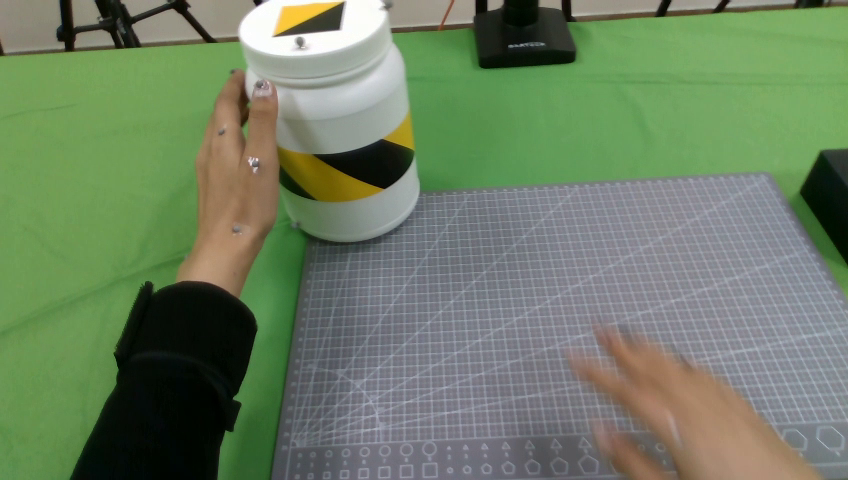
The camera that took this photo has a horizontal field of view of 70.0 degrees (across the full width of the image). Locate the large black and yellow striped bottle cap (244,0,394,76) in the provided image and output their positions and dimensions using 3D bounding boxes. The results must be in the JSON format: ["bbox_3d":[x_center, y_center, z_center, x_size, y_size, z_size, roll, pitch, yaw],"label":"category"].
[{"bbox_3d":[-0.080,-0.163,0.467,0.115,0.019,0.114,-3,44,3],"label":"large black and yellow striped bottle cap"}]

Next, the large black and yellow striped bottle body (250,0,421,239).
[{"bbox_3d":[-0.074,-0.106,0.529,0.131,0.186,0.129,-2,46,3],"label":"large black and yellow striped bottle body"}]
